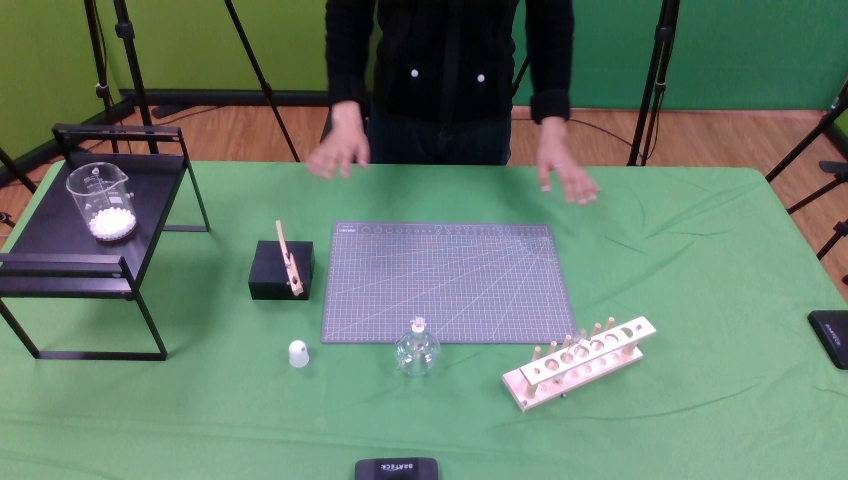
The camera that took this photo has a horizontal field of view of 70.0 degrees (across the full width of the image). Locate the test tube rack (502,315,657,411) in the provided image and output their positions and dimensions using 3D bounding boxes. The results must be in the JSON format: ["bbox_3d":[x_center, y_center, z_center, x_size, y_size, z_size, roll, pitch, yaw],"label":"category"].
[{"bbox_3d":[0.253,0.186,0.988,0.242,0.085,0.066,-18,50,-20],"label":"test tube rack"}]

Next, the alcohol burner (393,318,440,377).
[{"bbox_3d":[-0.011,0.166,0.971,0.078,0.120,0.077,1,45,-1],"label":"alcohol burner"}]

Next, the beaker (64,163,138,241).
[{"bbox_3d":[-0.477,-0.055,0.910,0.084,0.101,0.073,-9,48,-13],"label":"beaker"}]

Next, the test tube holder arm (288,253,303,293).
[{"bbox_3d":[-0.227,0.057,1.059,0.010,0.015,0.087,-15,48,-15],"label":"test tube holder arm"}]

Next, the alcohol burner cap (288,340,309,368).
[{"bbox_3d":[-0.207,0.182,0.991,0.034,0.048,0.033,3,46,-3],"label":"alcohol burner cap"}]

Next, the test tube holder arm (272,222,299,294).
[{"bbox_3d":[-0.250,0.029,1.087,0.013,0.015,0.177,-17,48,-16],"label":"test tube holder arm"}]

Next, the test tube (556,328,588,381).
[{"bbox_3d":[0.224,0.178,0.925,0.017,0.151,0.017,2,52,-2],"label":"test tube"}]
